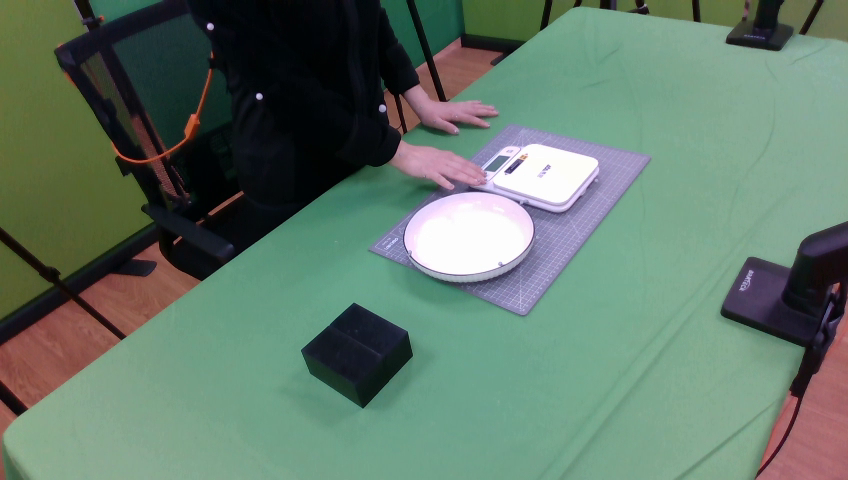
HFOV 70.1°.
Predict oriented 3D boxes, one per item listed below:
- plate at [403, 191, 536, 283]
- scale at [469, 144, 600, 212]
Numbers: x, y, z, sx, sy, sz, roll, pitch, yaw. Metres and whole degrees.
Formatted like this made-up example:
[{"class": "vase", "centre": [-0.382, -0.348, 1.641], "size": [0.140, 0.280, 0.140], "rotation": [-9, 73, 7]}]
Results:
[{"class": "plate", "centre": [0.071, -0.003, 0.959], "size": [0.209, 0.038, 0.208], "rotation": [-5, 41, 5]}, {"class": "scale", "centre": [0.195, -0.117, 1.075], "size": [0.199, 0.032, 0.149], "rotation": [21, 48, 32]}]
